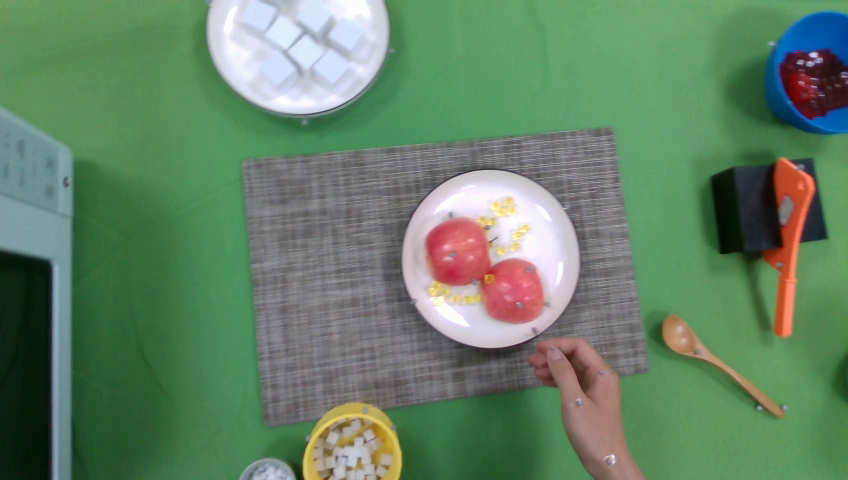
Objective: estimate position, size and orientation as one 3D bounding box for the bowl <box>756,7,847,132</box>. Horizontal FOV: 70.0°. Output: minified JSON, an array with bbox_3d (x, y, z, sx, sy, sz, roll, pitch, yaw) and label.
[{"bbox_3d":[0.471,-0.198,0.749,0.151,0.077,0.151,1,84,-5],"label":"bowl"}]

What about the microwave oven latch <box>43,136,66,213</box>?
[{"bbox_3d":[-0.402,-0.069,0.648,0.030,0.029,0.079,-2,84,-6],"label":"microwave oven latch"}]

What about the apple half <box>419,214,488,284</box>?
[{"bbox_3d":[0.034,0.010,0.682,0.075,0.053,0.080,-8,85,-4],"label":"apple half"}]

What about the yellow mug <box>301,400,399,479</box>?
[{"bbox_3d":[-0.080,0.243,0.649,0.100,0.064,0.130,6,86,-6],"label":"yellow mug"}]

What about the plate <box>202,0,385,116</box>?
[{"bbox_3d":[-0.150,-0.243,0.712,0.208,0.039,0.207,1,83,-6],"label":"plate"}]

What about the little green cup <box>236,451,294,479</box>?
[{"bbox_3d":[-0.168,0.258,0.652,0.061,0.038,0.061,0,85,-4],"label":"little green cup"}]

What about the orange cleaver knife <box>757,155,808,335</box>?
[{"bbox_3d":[0.418,0.007,0.718,0.012,0.076,0.212,-5,107,-2],"label":"orange cleaver knife"}]

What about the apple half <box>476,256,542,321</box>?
[{"bbox_3d":[0.100,0.056,0.693,0.081,0.033,0.081,1,81,-4],"label":"apple half"}]

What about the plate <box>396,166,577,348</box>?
[{"bbox_3d":[0.070,0.020,0.700,0.209,0.038,0.208,1,84,-6],"label":"plate"}]

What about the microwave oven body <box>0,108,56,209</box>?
[{"bbox_3d":[-0.529,0.102,0.518,0.326,0.260,0.440,-3,84,-6],"label":"microwave oven body"}]

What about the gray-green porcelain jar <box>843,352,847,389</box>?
[{"bbox_3d":[0.566,0.157,0.694,0.106,0.126,0.105,1,83,-5],"label":"gray-green porcelain jar"}]

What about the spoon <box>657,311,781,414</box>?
[{"bbox_3d":[0.354,0.151,0.725,0.194,0.022,0.041,37,66,-1],"label":"spoon"}]

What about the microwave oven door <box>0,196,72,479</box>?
[{"bbox_3d":[-0.381,0.136,0.525,0.039,0.244,0.354,-4,84,-5],"label":"microwave oven door"}]
